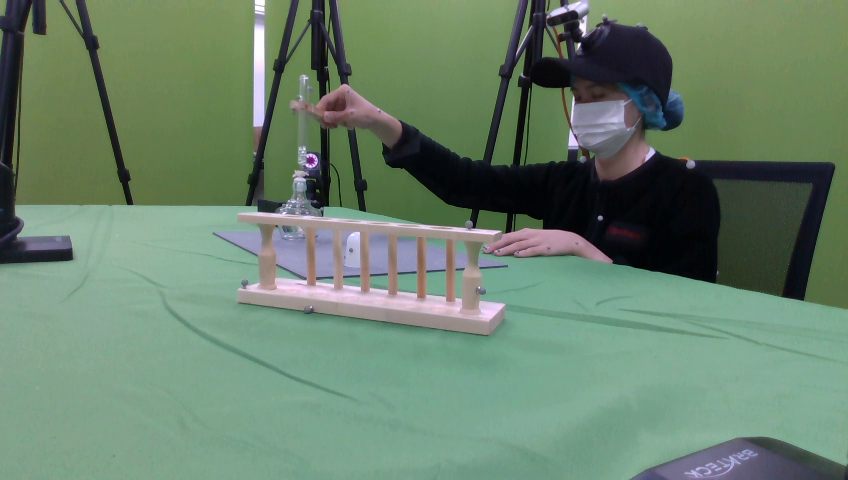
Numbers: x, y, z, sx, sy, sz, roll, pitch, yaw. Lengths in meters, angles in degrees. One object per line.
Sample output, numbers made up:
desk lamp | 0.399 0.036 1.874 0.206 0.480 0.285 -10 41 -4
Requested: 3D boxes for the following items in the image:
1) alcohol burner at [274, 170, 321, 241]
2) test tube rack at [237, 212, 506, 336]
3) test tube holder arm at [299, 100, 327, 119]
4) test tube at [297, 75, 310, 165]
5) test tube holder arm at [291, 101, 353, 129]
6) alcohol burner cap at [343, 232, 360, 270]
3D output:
alcohol burner | -0.212 -0.058 1.015 0.078 0.119 0.078 4 5 0
test tube rack | -0.049 0.024 0.552 0.242 0.085 0.067 5 8 18
test tube holder arm | -0.188 -0.221 1.027 0.010 0.015 0.088 5 1 16
test tube | -0.201 -0.200 1.007 0.017 0.150 0.017 2 -1 0
test tube holder arm | -0.177 -0.220 1.071 0.013 0.015 0.179 6 1 24
alcohol burner cap | -0.087 0.013 0.776 0.034 0.048 0.034 3 7 0
